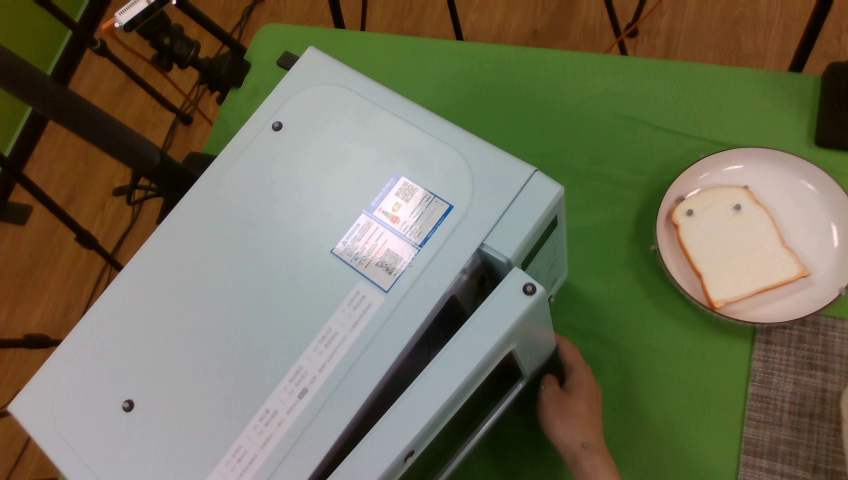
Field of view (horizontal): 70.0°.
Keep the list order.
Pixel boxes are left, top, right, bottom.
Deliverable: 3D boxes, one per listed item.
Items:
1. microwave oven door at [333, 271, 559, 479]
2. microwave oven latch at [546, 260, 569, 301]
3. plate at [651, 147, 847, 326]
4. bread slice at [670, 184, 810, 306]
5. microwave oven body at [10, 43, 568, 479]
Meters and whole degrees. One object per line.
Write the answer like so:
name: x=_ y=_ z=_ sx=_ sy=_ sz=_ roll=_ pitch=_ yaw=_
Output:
microwave oven door: x=-0.008 y=0.198 z=0.556 sx=0.039 sy=0.246 sz=0.355 roll=39 pitch=83 yaw=25
microwave oven latch: x=0.134 y=0.052 z=0.688 sx=0.030 sy=0.030 sz=0.079 roll=35 pitch=82 yaw=23
plate: x=0.361 y=-0.004 z=0.673 sx=0.207 sy=0.039 sz=0.206 roll=-5 pitch=69 yaw=12
bread slice: x=0.338 y=0.001 z=0.675 sx=0.107 sy=0.018 sz=0.133 roll=-23 pitch=64 yaw=1
microwave oven body: x=-0.108 y=0.084 z=0.630 sx=0.323 sy=0.262 sz=0.441 roll=33 pitch=81 yaw=22
